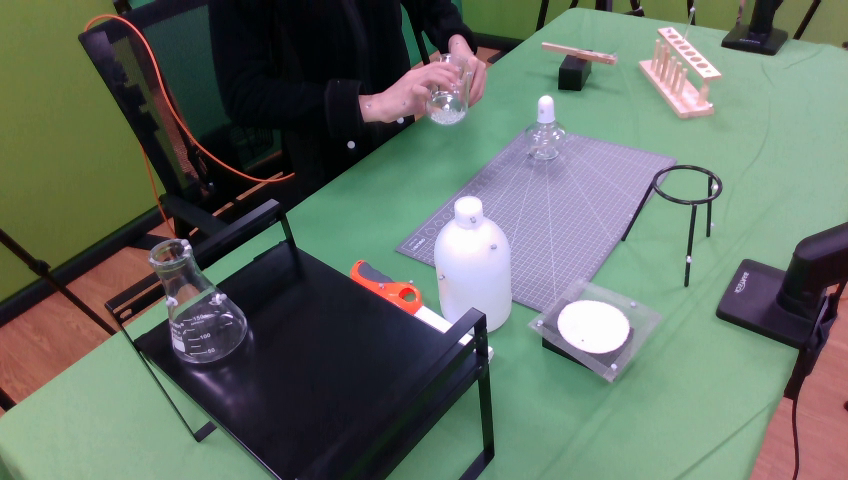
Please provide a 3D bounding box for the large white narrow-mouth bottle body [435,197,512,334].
[{"bbox_3d":[0.066,0.028,0.805,0.102,0.195,0.101,-4,40,4],"label":"large white narrow-mouth bottle body"}]

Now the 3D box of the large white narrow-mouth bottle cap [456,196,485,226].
[{"bbox_3d":[0.058,-0.036,0.749,0.038,0.024,0.037,-4,40,4],"label":"large white narrow-mouth bottle cap"}]

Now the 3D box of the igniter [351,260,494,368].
[{"bbox_3d":[-0.013,0.098,0.864,0.274,0.025,0.057,30,65,36],"label":"igniter"}]

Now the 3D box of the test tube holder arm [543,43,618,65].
[{"bbox_3d":[0.344,-0.413,1.341,0.177,0.015,0.013,25,50,31],"label":"test tube holder arm"}]

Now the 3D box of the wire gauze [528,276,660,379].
[{"bbox_3d":[0.213,0.103,0.763,0.124,0.011,0.122,30,52,35],"label":"wire gauze"}]

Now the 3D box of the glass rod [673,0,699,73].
[{"bbox_3d":[0.538,-0.425,1.245,0.008,0.200,0.008,0,47,0],"label":"glass rod"}]

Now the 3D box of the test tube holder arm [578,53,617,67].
[{"bbox_3d":[0.376,-0.393,1.314,0.087,0.015,0.010,26,51,32],"label":"test tube holder arm"}]

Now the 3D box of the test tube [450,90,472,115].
[{"bbox_3d":[0.070,-0.252,1.120,0.017,0.017,0.151,4,1,14],"label":"test tube"}]

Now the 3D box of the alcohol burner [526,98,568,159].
[{"bbox_3d":[0.228,-0.210,1.118,0.078,0.119,0.077,-5,43,5],"label":"alcohol burner"}]

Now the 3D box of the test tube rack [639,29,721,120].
[{"bbox_3d":[0.527,-0.351,1.262,0.067,0.085,0.241,-8,40,1],"label":"test tube rack"}]

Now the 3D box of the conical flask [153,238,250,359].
[{"bbox_3d":[-0.225,0.055,0.597,0.075,0.122,0.075,-5,41,4],"label":"conical flask"}]

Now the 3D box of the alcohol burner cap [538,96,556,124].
[{"bbox_3d":[0.222,-0.237,1.095,0.034,0.048,0.033,-7,35,5],"label":"alcohol burner cap"}]

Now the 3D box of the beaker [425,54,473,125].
[{"bbox_3d":[0.041,-0.242,0.991,0.074,0.084,0.100,-1,49,10],"label":"beaker"}]

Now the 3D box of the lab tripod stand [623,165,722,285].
[{"bbox_3d":[0.365,-0.030,0.874,0.148,0.132,0.147,-6,41,6],"label":"lab tripod stand"}]
